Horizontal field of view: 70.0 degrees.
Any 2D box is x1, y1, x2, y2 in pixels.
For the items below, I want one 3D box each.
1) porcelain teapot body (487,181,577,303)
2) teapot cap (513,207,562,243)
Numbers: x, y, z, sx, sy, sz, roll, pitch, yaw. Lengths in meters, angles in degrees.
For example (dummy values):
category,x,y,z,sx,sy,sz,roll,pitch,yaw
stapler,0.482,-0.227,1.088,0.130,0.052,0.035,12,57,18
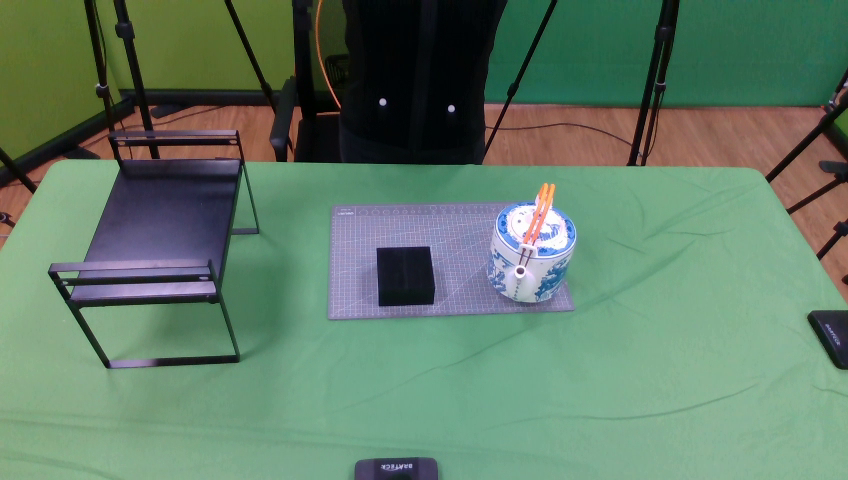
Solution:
category,x,y,z,sx,sy,sz,roll,pitch,yaw
porcelain teapot body,0.185,0.018,1.048,0.145,0.226,0.204,15,48,10
teapot cap,0.196,-0.029,1.039,0.085,0.044,0.084,4,49,-4
